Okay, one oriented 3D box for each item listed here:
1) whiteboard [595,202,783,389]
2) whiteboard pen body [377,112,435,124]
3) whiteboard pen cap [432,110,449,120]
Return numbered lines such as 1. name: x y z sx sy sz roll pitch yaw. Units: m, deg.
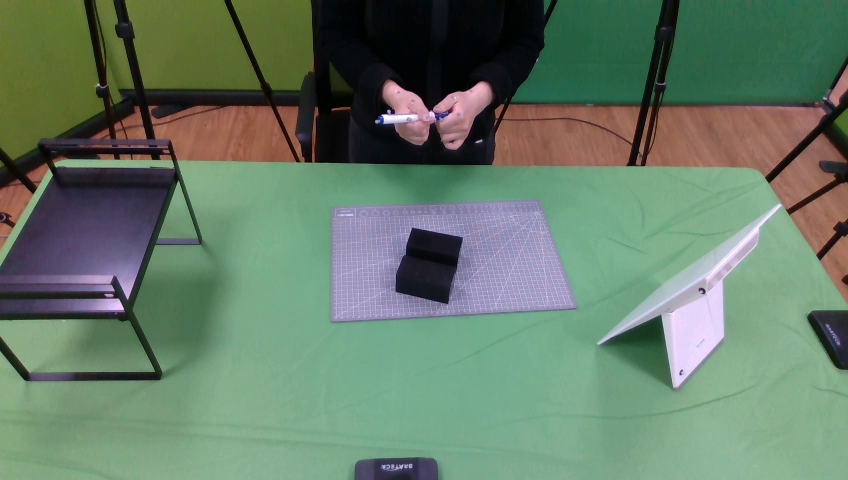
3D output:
1. whiteboard: 0.459 0.112 0.968 0.217 0.306 0.143 -31 74 -29
2. whiteboard pen body: -0.022 -0.220 1.085 0.141 0.017 0.017 -11 47 -32
3. whiteboard pen cap: 0.027 -0.230 1.117 0.033 0.018 0.018 -11 47 -32
